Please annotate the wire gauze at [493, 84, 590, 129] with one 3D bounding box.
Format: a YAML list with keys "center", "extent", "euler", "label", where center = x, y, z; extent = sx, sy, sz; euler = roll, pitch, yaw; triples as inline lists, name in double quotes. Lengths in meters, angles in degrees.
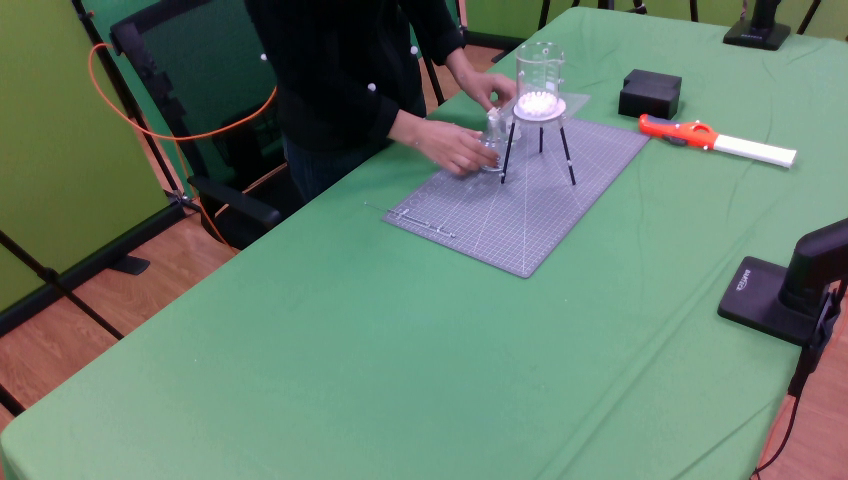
- center: [0.197, -0.223, 1.013]
  extent: [0.120, 0.011, 0.125]
  euler: [21, 47, 28]
  label: "wire gauze"

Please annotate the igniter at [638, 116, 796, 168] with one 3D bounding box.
- center: [0.517, -0.181, 1.093]
  extent: [0.274, 0.025, 0.057]
  euler: [23, 65, 32]
  label: "igniter"

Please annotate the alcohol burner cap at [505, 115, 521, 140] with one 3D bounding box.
- center: [0.175, -0.224, 1.193]
  extent: [0.034, 0.048, 0.033]
  euler: [-6, 40, 5]
  label: "alcohol burner cap"

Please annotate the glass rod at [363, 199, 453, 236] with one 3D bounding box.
- center: [-0.031, -0.041, 1.041]
  extent: [0.198, 0.008, 0.008]
  euler: [22, 50, 31]
  label: "glass rod"

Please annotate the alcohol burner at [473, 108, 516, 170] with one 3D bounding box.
- center: [0.129, -0.187, 1.100]
  extent: [0.078, 0.119, 0.077]
  euler: [-1, 42, 2]
  label: "alcohol burner"

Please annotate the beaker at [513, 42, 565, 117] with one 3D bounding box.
- center: [0.187, -0.257, 0.981]
  extent: [0.083, 0.101, 0.074]
  euler: [21, 49, 29]
  label: "beaker"

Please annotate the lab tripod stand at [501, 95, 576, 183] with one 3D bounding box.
- center: [0.204, -0.174, 1.057]
  extent: [0.148, 0.132, 0.147]
  euler: [-4, 40, 4]
  label: "lab tripod stand"
